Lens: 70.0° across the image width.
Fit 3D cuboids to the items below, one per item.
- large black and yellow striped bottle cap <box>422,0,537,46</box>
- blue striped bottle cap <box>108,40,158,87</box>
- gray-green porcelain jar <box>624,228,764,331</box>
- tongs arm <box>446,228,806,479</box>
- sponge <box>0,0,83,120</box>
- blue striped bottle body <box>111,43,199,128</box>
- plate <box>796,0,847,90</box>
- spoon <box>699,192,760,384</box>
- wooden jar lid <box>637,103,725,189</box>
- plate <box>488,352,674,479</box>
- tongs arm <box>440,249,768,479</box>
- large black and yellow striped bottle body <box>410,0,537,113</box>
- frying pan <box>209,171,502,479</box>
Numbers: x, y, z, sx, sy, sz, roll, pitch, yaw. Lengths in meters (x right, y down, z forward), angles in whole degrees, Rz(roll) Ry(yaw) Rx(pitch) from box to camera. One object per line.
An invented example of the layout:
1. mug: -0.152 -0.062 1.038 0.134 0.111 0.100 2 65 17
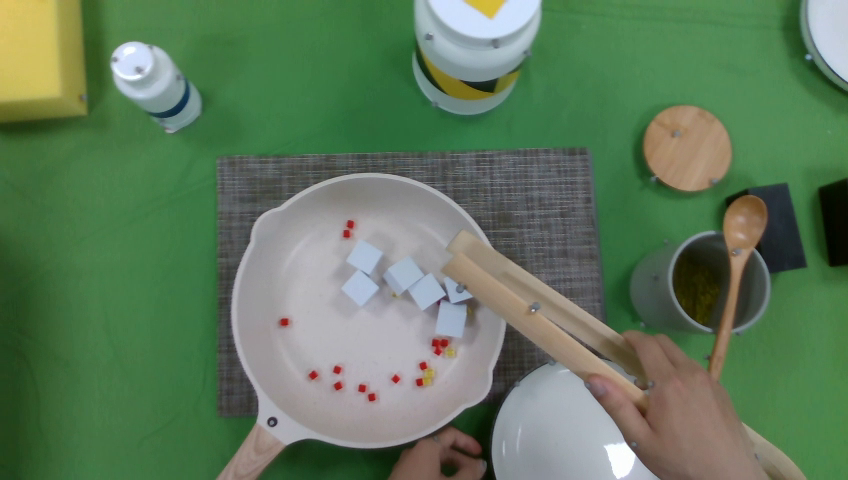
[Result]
1. large black and yellow striped bottle cap: 0.054 -0.245 0.583 0.115 0.019 0.114 0 84 -2
2. blue striped bottle cap: -0.299 -0.182 0.622 0.044 0.020 0.044 0 84 -3
3. gray-green porcelain jar: 0.288 0.048 0.669 0.106 0.127 0.105 0 82 -2
4. tongs arm: 0.179 0.109 0.511 0.389 0.028 0.028 35 116 -10
5. sponge: -0.476 -0.249 0.703 0.118 0.061 0.206 -7 84 -4
6. blue striped bottle body: -0.300 -0.173 0.672 0.063 0.121 0.063 0 82 -2
7. plate: 0.571 -0.277 0.770 0.209 0.038 0.208 0 82 -2
8. spoon: 0.297 0.048 0.599 0.042 0.021 0.193 14 86 -4
9. wooden jar lid: 0.315 -0.114 0.746 0.108 0.021 0.108 0 84 -2
10. plate: 0.173 0.228 0.683 0.208 0.039 0.207 0 84 -3
11. tongs arm: 0.175 0.121 0.491 0.386 0.050 0.026 38 119 -6
12. large black and yellow striped bottle body: 0.050 -0.232 0.666 0.131 0.184 0.130 0 81 -2
13. frying pan: -0.125 0.150 0.643 0.306 0.103 0.487 39 74 4
